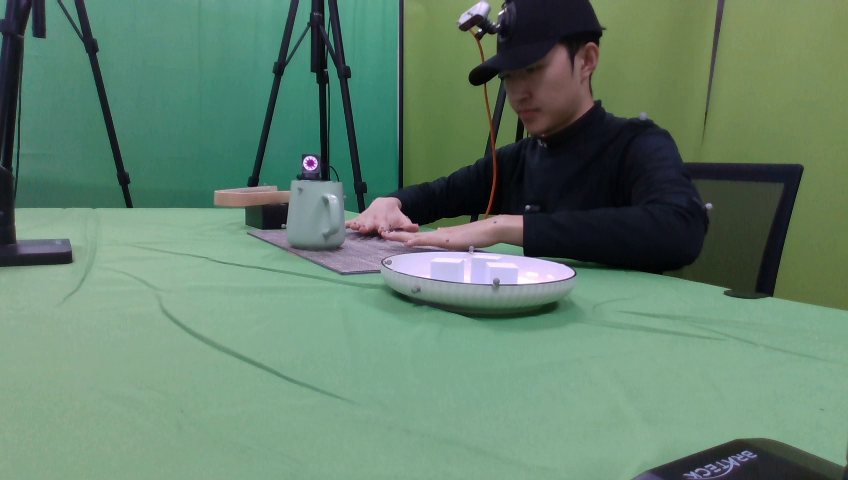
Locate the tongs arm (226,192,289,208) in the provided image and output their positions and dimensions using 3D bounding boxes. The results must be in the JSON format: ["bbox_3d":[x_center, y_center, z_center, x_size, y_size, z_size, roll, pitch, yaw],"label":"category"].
[{"bbox_3d":[-0.286,-0.091,1.283,0.028,0.028,0.389,12,9,18],"label":"tongs arm"}]

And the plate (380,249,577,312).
[{"bbox_3d":[0.056,0.042,0.646,0.209,0.038,0.209,2,7,0],"label":"plate"}]

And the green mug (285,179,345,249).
[{"bbox_3d":[-0.161,-0.040,0.936,0.093,0.105,0.124,-2,8,-32],"label":"green mug"}]

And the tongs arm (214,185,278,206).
[{"bbox_3d":[-0.363,-0.099,1.297,0.051,0.026,0.385,7,7,6],"label":"tongs arm"}]
